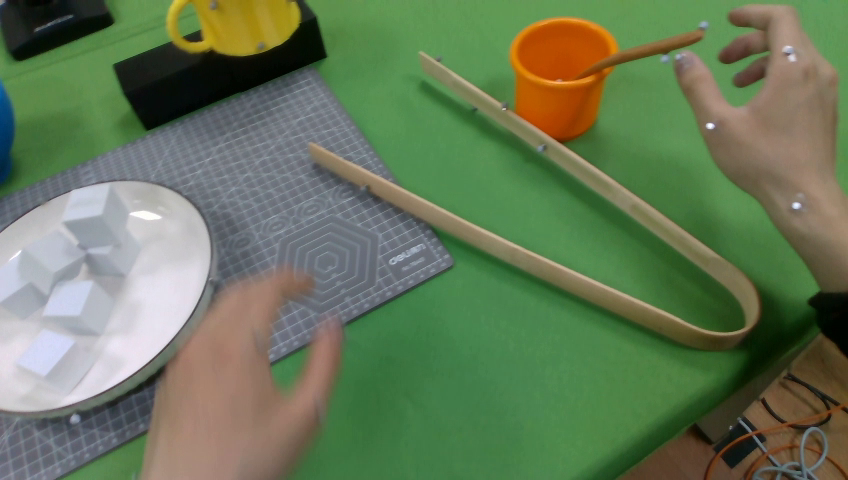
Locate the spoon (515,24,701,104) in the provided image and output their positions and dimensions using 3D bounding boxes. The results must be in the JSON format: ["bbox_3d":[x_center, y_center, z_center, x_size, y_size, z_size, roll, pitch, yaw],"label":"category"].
[{"bbox_3d":[0.141,-0.144,0.501,0.022,0.193,0.041,46,69,-17],"label":"spoon"}]

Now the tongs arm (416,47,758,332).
[{"bbox_3d":[0.111,-0.061,0.518,0.050,0.027,0.381,-40,63,-21],"label":"tongs arm"}]

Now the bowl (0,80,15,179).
[{"bbox_3d":[-0.450,-0.091,0.569,0.151,0.077,0.150,-3,56,5],"label":"bowl"}]

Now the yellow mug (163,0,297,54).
[{"bbox_3d":[-0.192,-0.230,0.583,0.099,0.064,0.130,38,68,27],"label":"yellow mug"}]

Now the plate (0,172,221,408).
[{"bbox_3d":[-0.262,0.036,0.484,0.207,0.039,0.205,-3,56,4],"label":"plate"}]

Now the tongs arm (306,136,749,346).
[{"bbox_3d":[0.057,-0.008,0.489,0.385,0.028,0.028,26,58,20],"label":"tongs arm"}]
